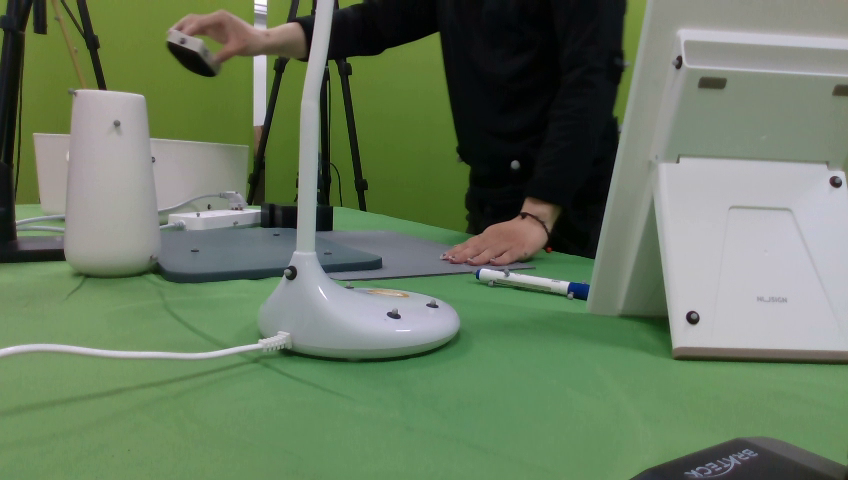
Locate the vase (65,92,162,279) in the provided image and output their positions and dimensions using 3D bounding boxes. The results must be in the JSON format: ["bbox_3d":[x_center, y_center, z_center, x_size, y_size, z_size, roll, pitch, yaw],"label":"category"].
[{"bbox_3d":[-0.347,-0.060,0.673,0.098,0.200,0.098,1,7,0],"label":"vase"}]

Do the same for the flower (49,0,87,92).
[{"bbox_3d":[-0.361,-0.142,0.659,0.038,0.361,0.044,-13,11,11],"label":"flower"}]

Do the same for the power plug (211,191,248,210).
[{"bbox_3d":[-0.384,-0.071,1.206,0.072,0.052,0.035,1,7,27],"label":"power plug"}]

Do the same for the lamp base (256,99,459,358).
[{"bbox_3d":[-0.055,-0.013,0.463,0.160,0.180,0.180,6,11,27],"label":"lamp base"}]

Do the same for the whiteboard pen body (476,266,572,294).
[{"bbox_3d":[0.122,0.046,0.680,0.140,0.017,0.017,8,9,30],"label":"whiteboard pen body"}]

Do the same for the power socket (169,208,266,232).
[{"bbox_3d":[-0.379,-0.038,1.129,0.072,0.032,0.227,4,8,18],"label":"power socket"}]

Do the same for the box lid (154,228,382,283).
[{"bbox_3d":[-0.250,0.013,0.853,0.265,0.015,0.369,-3,9,-32],"label":"box lid"}]

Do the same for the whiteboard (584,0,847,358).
[{"bbox_3d":[0.269,-0.034,0.466,0.217,0.305,0.143,2,27,-1],"label":"whiteboard"}]

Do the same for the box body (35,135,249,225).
[{"bbox_3d":[-0.561,-0.127,1.258,0.254,0.160,0.365,4,8,13],"label":"box body"}]

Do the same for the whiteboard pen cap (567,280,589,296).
[{"bbox_3d":[0.171,0.052,0.648,0.033,0.018,0.018,9,10,30],"label":"whiteboard pen cap"}]

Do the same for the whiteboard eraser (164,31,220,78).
[{"bbox_3d":[-0.384,-0.302,1.003,0.055,0.042,0.112,19,-3,-1],"label":"whiteboard eraser"}]
